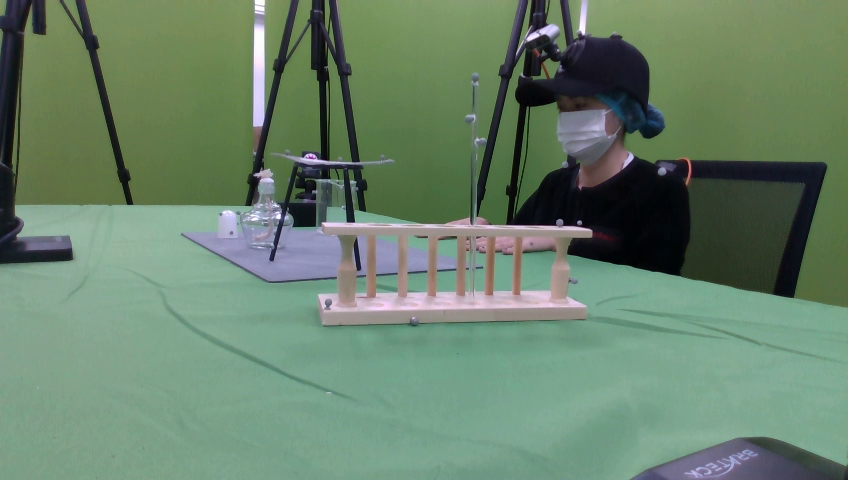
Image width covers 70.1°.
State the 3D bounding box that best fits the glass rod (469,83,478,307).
[{"bbox_3d":[0.043,-0.033,0.523,0.008,0.199,0.008,-1,14,1],"label":"glass rod"}]

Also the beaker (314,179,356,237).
[{"bbox_3d":[-0.162,-0.058,1.094,0.074,0.100,0.083,0,9,-21],"label":"beaker"}]

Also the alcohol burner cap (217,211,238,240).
[{"bbox_3d":[-0.323,-0.024,0.994,0.034,0.048,0.034,3,8,0],"label":"alcohol burner cap"}]

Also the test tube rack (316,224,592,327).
[{"bbox_3d":[0.026,0.028,0.555,0.243,0.085,0.066,1,7,-15],"label":"test tube rack"}]

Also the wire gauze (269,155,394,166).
[{"bbox_3d":[-0.121,-0.102,0.785,0.122,0.011,0.124,-3,10,-39],"label":"wire gauze"}]

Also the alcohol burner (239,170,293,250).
[{"bbox_3d":[-0.237,-0.045,0.904,0.078,0.119,0.078,1,8,0],"label":"alcohol burner"}]

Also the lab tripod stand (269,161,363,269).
[{"bbox_3d":[-0.125,-0.036,0.794,0.148,0.131,0.148,5,7,0],"label":"lab tripod stand"}]
